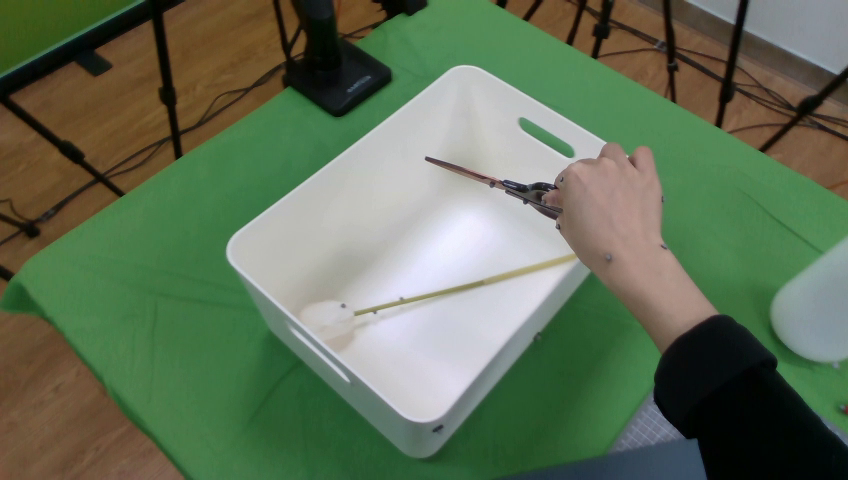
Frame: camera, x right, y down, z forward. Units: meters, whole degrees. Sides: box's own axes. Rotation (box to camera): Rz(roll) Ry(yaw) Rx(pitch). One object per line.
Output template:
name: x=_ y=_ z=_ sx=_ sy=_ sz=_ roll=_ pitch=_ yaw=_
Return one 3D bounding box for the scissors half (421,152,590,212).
scissors half: x=0.069 y=-0.059 z=0.559 sx=0.174 sy=0.040 sz=0.013 roll=21 pitch=87 yaw=30

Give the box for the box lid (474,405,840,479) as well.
box lid: x=0.244 y=0.308 z=0.555 sx=0.372 sy=0.015 sz=0.260 roll=-10 pitch=59 yaw=-8

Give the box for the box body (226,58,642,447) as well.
box body: x=0.019 y=0.005 z=0.651 sx=0.252 sy=0.161 sz=0.363 roll=37 pitch=63 yaw=20

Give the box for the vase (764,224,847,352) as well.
vase: x=0.441 y=0.038 z=0.627 sx=0.098 sy=0.201 sz=0.097 roll=1 pitch=56 yaw=-1

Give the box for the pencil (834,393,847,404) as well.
pencil: x=0.541 y=0.176 z=0.654 sx=0.194 sy=0.012 sz=0.012 roll=4 pitch=57 yaw=-1

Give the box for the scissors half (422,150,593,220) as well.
scissors half: x=0.076 y=-0.054 z=0.578 sx=0.174 sy=0.040 sz=0.013 roll=23 pitch=83 yaw=12

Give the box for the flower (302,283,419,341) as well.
flower: x=0.018 y=0.045 z=0.728 sx=0.363 sy=0.044 sz=0.038 roll=-17 pitch=31 yaw=-36
